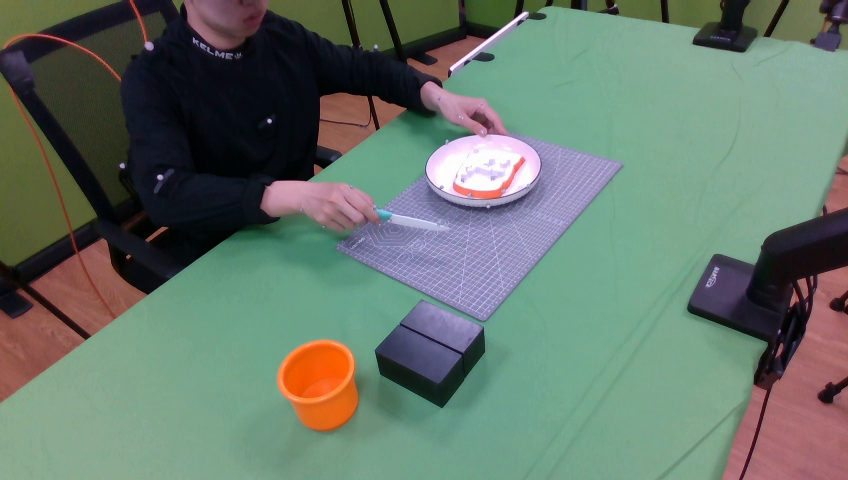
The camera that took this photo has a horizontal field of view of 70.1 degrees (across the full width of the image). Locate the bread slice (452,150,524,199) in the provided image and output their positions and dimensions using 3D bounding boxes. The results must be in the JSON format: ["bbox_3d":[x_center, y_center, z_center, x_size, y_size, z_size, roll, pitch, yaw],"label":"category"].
[{"bbox_3d":[0.111,-0.119,1.078,0.104,0.019,0.131,12,43,21],"label":"bread slice"}]

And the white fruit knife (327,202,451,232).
[{"bbox_3d":[-0.058,-0.035,0.954,0.207,0.027,0.016,11,54,12],"label":"white fruit knife"}]

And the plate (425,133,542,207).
[{"bbox_3d":[0.106,-0.121,1.079,0.209,0.038,0.208,-4,41,4],"label":"plate"}]
